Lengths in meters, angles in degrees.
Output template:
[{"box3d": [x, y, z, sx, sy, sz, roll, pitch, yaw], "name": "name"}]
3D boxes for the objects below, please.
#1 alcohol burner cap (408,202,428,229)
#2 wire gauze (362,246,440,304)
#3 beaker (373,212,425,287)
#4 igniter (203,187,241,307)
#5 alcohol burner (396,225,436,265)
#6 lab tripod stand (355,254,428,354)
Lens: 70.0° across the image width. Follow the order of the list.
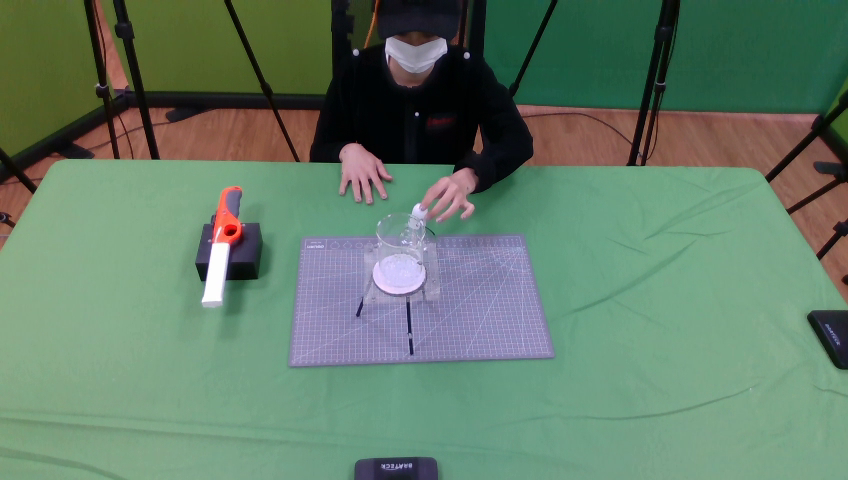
[{"box3d": [-0.010, -0.047, 1.102, 0.034, 0.048, 0.033, 8, 44, -7], "name": "alcohol burner cap"}, {"box3d": [-0.038, 0.052, 0.972, 0.121, 0.011, 0.124, 0, 44, -5], "name": "wire gauze"}, {"box3d": [-0.036, 0.019, 0.936, 0.074, 0.101, 0.083, -29, 54, -26], "name": "beaker"}, {"box3d": [-0.365, 0.003, 1.098, 0.057, 0.025, 0.274, -1, 49, -7], "name": "igniter"}, {"box3d": [-0.015, -0.011, 1.141, 0.078, 0.120, 0.077, 2, 44, -1], "name": "alcohol burner"}, {"box3d": [-0.046, 0.100, 1.017, 0.148, 0.132, 0.147, 1, 47, -1], "name": "lab tripod stand"}]
